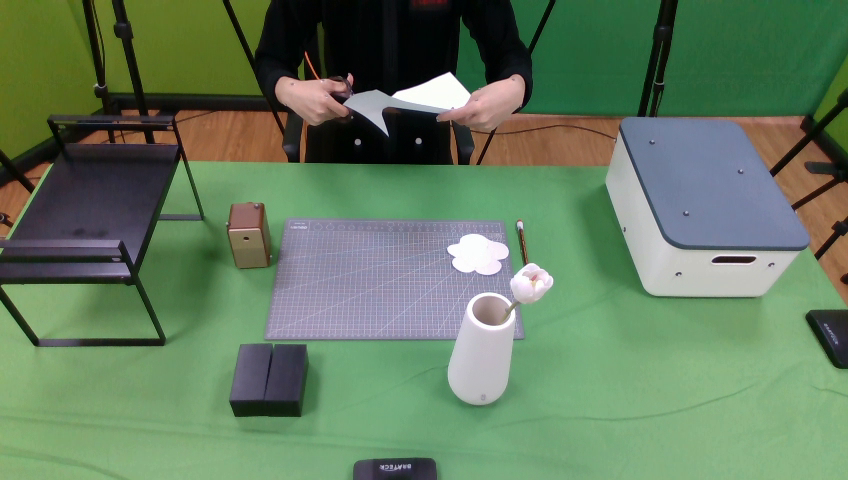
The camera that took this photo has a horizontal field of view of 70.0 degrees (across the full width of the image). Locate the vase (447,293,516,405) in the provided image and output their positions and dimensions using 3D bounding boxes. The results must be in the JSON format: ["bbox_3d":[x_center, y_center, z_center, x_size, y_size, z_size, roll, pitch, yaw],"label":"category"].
[{"bbox_3d":[0.091,0.169,0.921,0.098,0.201,0.097,3,47,-3],"label":"vase"}]

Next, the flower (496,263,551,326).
[{"bbox_3d":[0.102,0.120,0.853,0.044,0.363,0.038,-2,64,-10],"label":"flower"}]

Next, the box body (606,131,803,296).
[{"bbox_3d":[0.530,-0.067,1.204,0.254,0.161,0.361,0,46,-4],"label":"box body"}]

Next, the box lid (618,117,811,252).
[{"bbox_3d":[0.534,-0.117,1.149,0.263,0.015,0.369,0,47,-3],"label":"box lid"}]

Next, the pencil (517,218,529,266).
[{"bbox_3d":[0.200,0.027,1.196,0.012,0.012,0.193,1,48,-3],"label":"pencil"}]

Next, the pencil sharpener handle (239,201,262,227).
[{"bbox_3d":[-0.325,-0.055,1.150,0.036,0.068,0.030,-13,46,4],"label":"pencil sharpener handle"}]

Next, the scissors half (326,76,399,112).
[{"bbox_3d":[-0.113,-0.258,1.087,0.174,0.040,0.013,28,40,27],"label":"scissors half"}]

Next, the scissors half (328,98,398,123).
[{"bbox_3d":[-0.112,-0.238,1.095,0.174,0.040,0.013,1,19,40],"label":"scissors half"}]

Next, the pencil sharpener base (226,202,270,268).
[{"bbox_3d":[-0.323,-0.010,1.123,0.061,0.107,0.076,-3,46,-7],"label":"pencil sharpener base"}]
